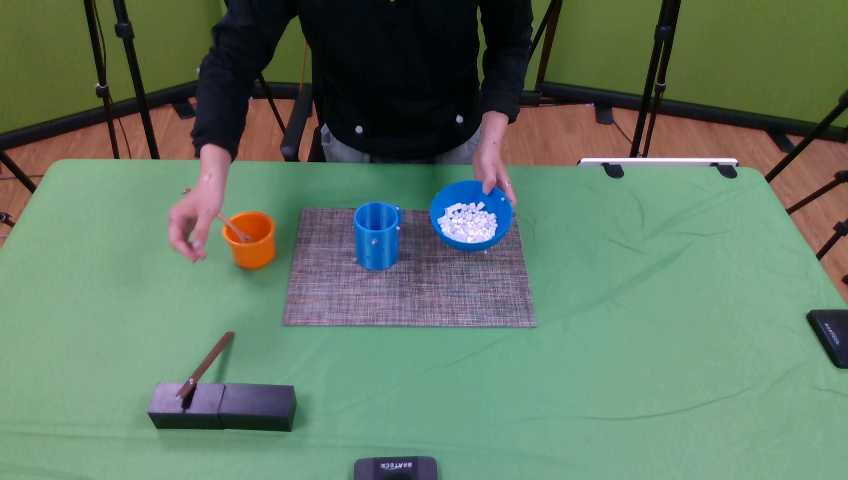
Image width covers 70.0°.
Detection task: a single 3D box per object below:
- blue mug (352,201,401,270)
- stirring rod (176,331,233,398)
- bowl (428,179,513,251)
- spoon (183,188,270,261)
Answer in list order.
[{"bbox_3d":[-0.082,-0.017,1.144,0.082,0.106,0.116,30,51,22],"label":"blue mug"},{"bbox_3d":[-0.342,0.192,0.955,0.014,0.006,0.175,3,24,7],"label":"stirring rod"},{"bbox_3d":[0.084,-0.032,1.117,0.151,0.077,0.150,-1,53,2],"label":"bowl"},{"bbox_3d":[-0.360,-0.029,1.110,0.021,0.194,0.041,-23,29,39],"label":"spoon"}]
